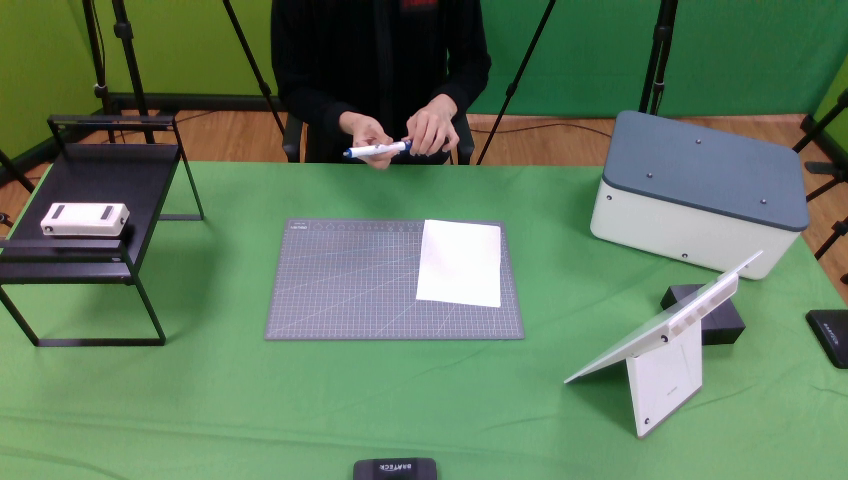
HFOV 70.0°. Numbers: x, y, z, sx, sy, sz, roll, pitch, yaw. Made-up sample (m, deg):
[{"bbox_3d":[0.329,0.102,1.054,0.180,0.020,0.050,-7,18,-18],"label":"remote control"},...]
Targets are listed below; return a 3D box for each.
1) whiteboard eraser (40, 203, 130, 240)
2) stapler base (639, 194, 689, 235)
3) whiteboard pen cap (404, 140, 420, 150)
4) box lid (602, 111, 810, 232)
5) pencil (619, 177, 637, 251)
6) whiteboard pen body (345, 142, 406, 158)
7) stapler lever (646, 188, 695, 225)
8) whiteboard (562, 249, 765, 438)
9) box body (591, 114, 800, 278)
[{"bbox_3d":[-0.513,-0.028,0.922,0.113,0.042,0.055,1,48,-3],"label":"whiteboard eraser"},{"bbox_3d":[0.510,-0.059,1.278,0.041,0.024,0.129,1,38,-31],"label":"stapler base"},{"bbox_3d":[-0.025,-0.170,1.082,0.033,0.018,0.018,-8,45,-34],"label":"whiteboard pen cap"},{"bbox_3d":[0.545,-0.143,1.176,0.371,0.015,0.262,15,47,11],"label":"box lid"},{"bbox_3d":[0.431,-0.060,1.284,0.012,0.012,0.193,2,56,-2],"label":"pencil"},{"bbox_3d":[-0.072,-0.158,1.049,0.141,0.017,0.017,-14,48,-34],"label":"whiteboard pen body"},{"bbox_3d":[0.516,-0.078,1.265,0.027,0.040,0.117,1,41,-31],"label":"stapler lever"},{"bbox_3d":[0.386,0.175,0.905,0.217,0.306,0.143,-26,72,-26],"label":"whiteboard"},{"bbox_3d":[0.540,-0.092,1.230,0.363,0.161,0.253,16,47,11],"label":"box body"}]
